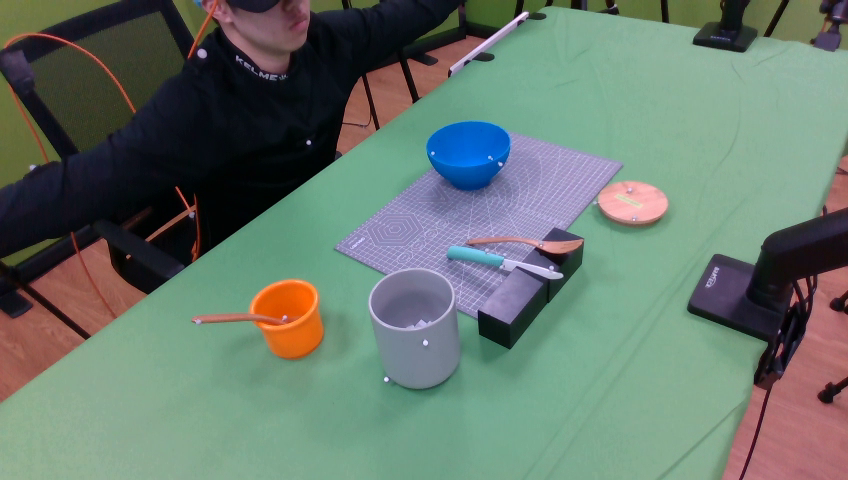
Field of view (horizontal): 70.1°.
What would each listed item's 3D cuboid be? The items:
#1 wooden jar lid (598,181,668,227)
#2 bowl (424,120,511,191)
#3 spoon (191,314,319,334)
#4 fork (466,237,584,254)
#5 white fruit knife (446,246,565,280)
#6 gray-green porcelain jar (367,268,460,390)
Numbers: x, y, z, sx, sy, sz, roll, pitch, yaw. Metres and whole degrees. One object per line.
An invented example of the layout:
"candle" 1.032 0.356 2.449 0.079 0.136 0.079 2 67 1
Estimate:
"wooden jar lid" 0.340 -0.058 0.988 0.108 0.021 0.108 -5 41 5
"bowl" 0.080 -0.141 1.074 0.151 0.077 0.150 -4 41 4
"spoon" -0.213 0.105 0.781 0.041 0.195 0.021 29 97 37
"fork" 0.142 0.005 0.894 0.205 0.019 0.028 4 43 41
"white fruit knife" 0.111 0.033 0.868 0.205 0.027 0.016 11 43 40
"gray-green porcelain jar" -0.009 0.116 0.754 0.106 0.127 0.105 -4 41 4
